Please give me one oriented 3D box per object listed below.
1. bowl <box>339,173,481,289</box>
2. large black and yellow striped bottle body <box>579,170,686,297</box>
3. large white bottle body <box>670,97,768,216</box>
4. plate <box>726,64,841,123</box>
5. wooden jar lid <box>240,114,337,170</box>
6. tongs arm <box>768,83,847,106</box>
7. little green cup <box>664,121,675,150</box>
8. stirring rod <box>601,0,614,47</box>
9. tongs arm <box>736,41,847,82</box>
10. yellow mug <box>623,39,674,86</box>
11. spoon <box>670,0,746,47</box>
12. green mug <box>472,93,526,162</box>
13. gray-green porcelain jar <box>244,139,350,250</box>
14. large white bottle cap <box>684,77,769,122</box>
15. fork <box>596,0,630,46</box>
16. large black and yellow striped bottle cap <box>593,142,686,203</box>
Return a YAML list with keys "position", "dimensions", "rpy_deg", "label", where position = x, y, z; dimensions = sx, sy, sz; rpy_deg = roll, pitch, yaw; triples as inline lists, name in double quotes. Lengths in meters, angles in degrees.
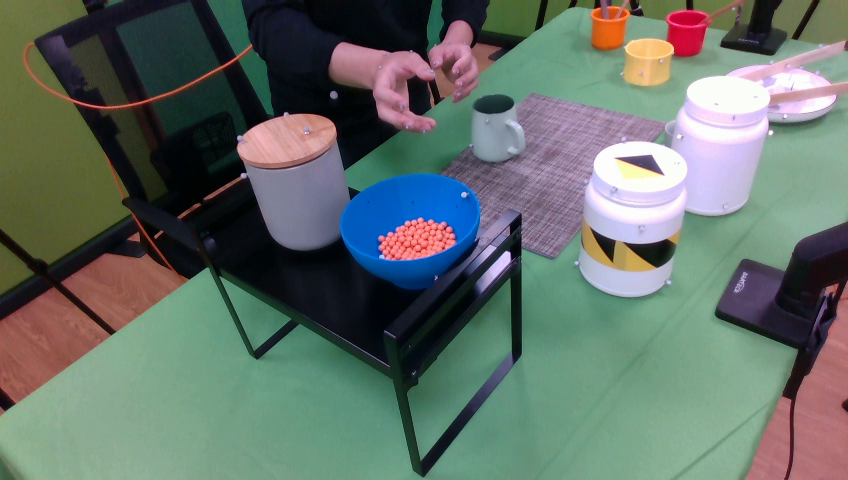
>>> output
- position: [-0.011, 0.001, 0.660]
  dimensions: [0.151, 0.077, 0.150]
  rpy_deg: [-5, 41, 5]
  label: "bowl"
- position: [0.287, -0.027, 0.841]
  dimensions: [0.131, 0.185, 0.130]
  rpy_deg: [-4, 40, 4]
  label: "large black and yellow striped bottle body"
- position: [0.458, -0.146, 0.952]
  dimensions: [0.130, 0.185, 0.130]
  rpy_deg: [-4, 40, 4]
  label: "large white bottle body"
- position: [0.695, -0.282, 1.189]
  dimensions: [0.207, 0.039, 0.206]
  rpy_deg: [-4, 40, 4]
  label: "plate"
- position: [-0.149, -0.106, 0.673]
  dimensions: [0.108, 0.021, 0.108]
  rpy_deg: [-6, 39, 5]
  label: "wooden jar lid"
- position: [0.738, -0.281, 1.135]
  dimensions: [0.388, 0.028, 0.028]
  rpy_deg: [-9, 47, -5]
  label: "tongs arm"
- position: [0.472, -0.188, 1.113]
  dimensions: [0.061, 0.039, 0.061]
  rpy_deg: [-5, 40, 4]
  label: "little green cup"
- position: [0.439, -0.552, 1.463]
  dimensions: [0.014, 0.006, 0.175]
  rpy_deg: [-7, 83, 3]
  label: "stirring rod"
- position: [0.712, -0.332, 1.194]
  dimensions: [0.386, 0.026, 0.050]
  rpy_deg: [-19, 45, -16]
  label: "tongs arm"
- position: [0.485, -0.398, 1.334]
  dimensions: [0.100, 0.064, 0.130]
  rpy_deg: [-18, 41, -10]
  label: "yellow mug"
- position: [0.629, -0.485, 1.350]
  dimensions: [0.022, 0.193, 0.042]
  rpy_deg: [48, 54, -7]
  label: "spoon"
- position: [0.144, -0.202, 1.122]
  dimensions: [0.093, 0.105, 0.124]
  rpy_deg: [-29, 45, -23]
  label: "green mug"
- position: [-0.143, -0.060, 0.714]
  dimensions: [0.106, 0.127, 0.105]
  rpy_deg: [-4, 41, 4]
  label: "gray-green porcelain jar"
- position: [0.448, -0.210, 0.898]
  dimensions: [0.115, 0.018, 0.114]
  rpy_deg: [-4, 40, 4]
  label: "large white bottle cap"
- position: [0.481, -0.556, 1.453]
  dimensions: [0.028, 0.019, 0.207]
  rpy_deg: [40, 103, 38]
  label: "fork"
- position: [0.280, -0.090, 0.786]
  dimensions: [0.115, 0.019, 0.114]
  rpy_deg: [-5, 41, 5]
  label: "large black and yellow striped bottle cap"
